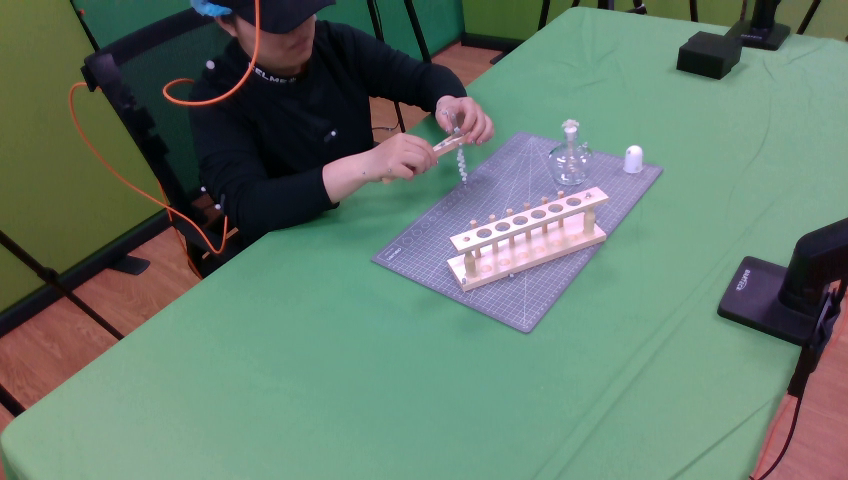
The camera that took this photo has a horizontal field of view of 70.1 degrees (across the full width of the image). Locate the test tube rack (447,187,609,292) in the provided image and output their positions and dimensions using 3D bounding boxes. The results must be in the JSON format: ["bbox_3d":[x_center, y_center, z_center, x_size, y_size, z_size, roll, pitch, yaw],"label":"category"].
[{"bbox_3d":[0.155,-0.011,0.913,0.243,0.085,0.066,-19,41,-11],"label":"test tube rack"}]

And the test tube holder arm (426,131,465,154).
[{"bbox_3d":[0.038,-0.162,1.038,0.088,0.015,0.010,-36,31,-30],"label":"test tube holder arm"}]

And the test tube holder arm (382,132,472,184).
[{"bbox_3d":[0.007,-0.139,1.015,0.179,0.015,0.013,-31,28,-21],"label":"test tube holder arm"}]

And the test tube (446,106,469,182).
[{"bbox_3d":[0.059,-0.164,1.051,0.017,0.151,0.017,-9,39,8],"label":"test tube"}]

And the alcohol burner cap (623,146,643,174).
[{"bbox_3d":[0.369,-0.142,1.061,0.034,0.048,0.033,-7,41,6],"label":"alcohol burner cap"}]

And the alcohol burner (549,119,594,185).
[{"bbox_3d":[0.254,-0.155,1.043,0.078,0.120,0.077,-7,40,6],"label":"alcohol burner"}]
